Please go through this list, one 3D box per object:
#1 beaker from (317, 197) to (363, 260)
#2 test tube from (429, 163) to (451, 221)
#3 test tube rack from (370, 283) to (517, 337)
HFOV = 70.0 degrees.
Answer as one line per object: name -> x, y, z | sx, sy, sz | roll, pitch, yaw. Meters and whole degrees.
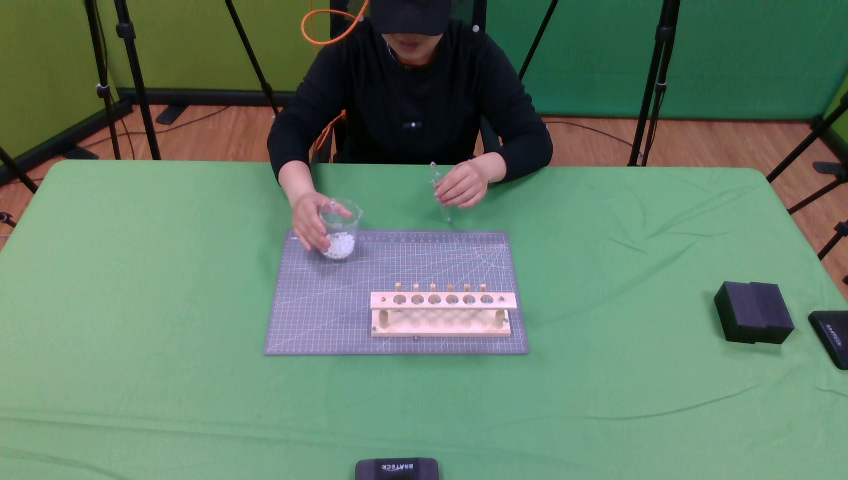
beaker -> -0.159, -0.019, 1.123 | 0.084, 0.100, 0.073 | -7, 51, -20
test tube -> 0.032, -0.091, 1.194 | 0.017, 0.151, 0.017 | -9, 45, 9
test tube rack -> 0.030, 0.116, 1.041 | 0.242, 0.085, 0.066 | 1, 46, -4
